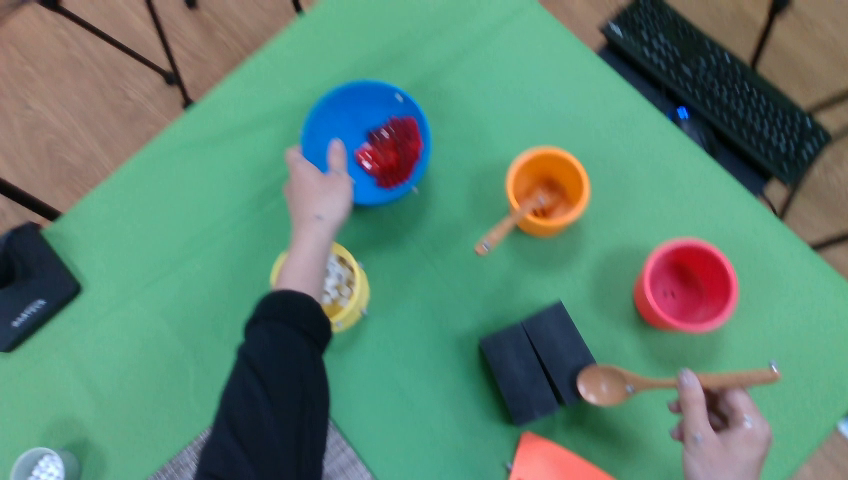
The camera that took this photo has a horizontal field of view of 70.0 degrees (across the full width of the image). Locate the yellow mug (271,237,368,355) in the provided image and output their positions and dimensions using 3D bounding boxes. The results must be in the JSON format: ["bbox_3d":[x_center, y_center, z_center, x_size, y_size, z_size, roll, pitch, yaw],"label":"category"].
[{"bbox_3d":[-0.121,0.067,0.698,0.100,0.064,0.130,6,77,4],"label":"yellow mug"}]

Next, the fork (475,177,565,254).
[{"bbox_3d":[0.108,-0.030,0.666,0.028,0.019,0.207,42,38,11],"label":"fork"}]

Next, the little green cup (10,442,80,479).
[{"bbox_3d":[-0.423,0.258,0.682,0.061,0.039,0.061,-1,76,4],"label":"little green cup"}]

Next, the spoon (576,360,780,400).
[{"bbox_3d":[0.228,0.130,0.569,0.022,0.193,0.041,-4,81,-41],"label":"spoon"}]

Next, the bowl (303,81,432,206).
[{"bbox_3d":[-0.063,-0.105,0.732,0.151,0.077,0.150,-1,78,3],"label":"bowl"}]

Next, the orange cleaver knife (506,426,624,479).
[{"bbox_3d":[0.183,0.282,0.652,0.210,0.012,0.077,32,75,11],"label":"orange cleaver knife"}]
